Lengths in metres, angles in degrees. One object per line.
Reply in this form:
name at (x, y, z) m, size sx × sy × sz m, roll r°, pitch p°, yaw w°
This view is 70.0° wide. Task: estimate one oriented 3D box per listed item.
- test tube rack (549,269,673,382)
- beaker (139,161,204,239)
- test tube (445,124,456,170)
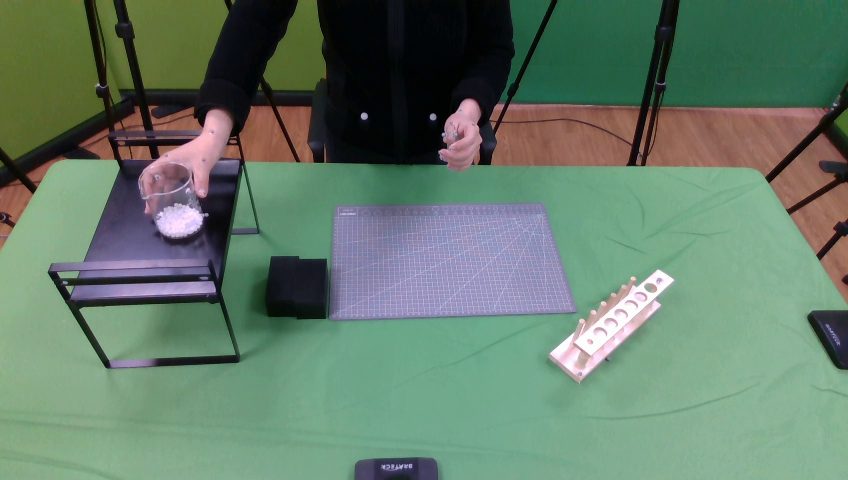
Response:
test tube rack at (0.325, 0.134, 1.047) m, size 0.242 × 0.085 × 0.066 m, roll -32°, pitch 56°, yaw -30°
beaker at (-0.381, -0.056, 0.920) m, size 0.074 × 0.101 × 0.084 m, roll 22°, pitch 49°, yaw 18°
test tube at (0.046, -0.155, 1.032) m, size 0.017 × 0.151 × 0.017 m, roll -1°, pitch 71°, yaw 3°
